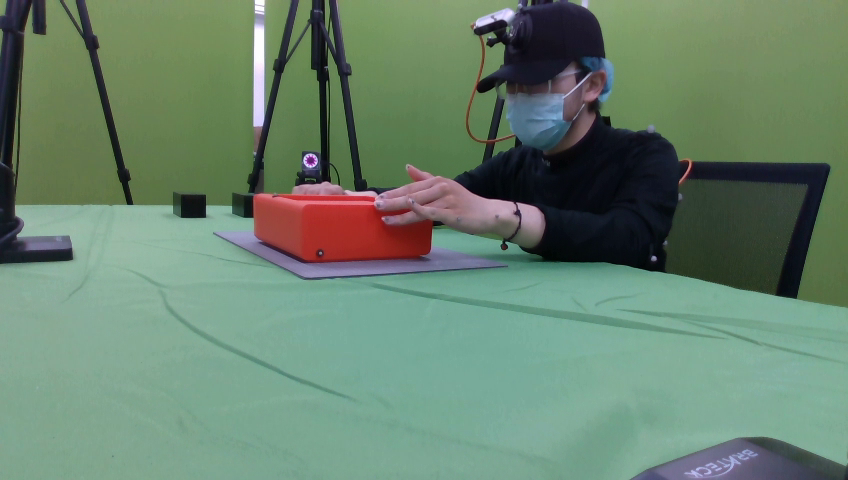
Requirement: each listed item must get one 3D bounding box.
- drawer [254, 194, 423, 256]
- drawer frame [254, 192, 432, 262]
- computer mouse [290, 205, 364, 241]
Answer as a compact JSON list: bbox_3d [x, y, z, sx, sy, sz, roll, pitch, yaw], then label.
[{"bbox_3d":[-0.134,-0.027,0.920,0.195,0.073,0.210,-1,8,-31],"label":"drawer"},{"bbox_3d":[-0.127,-0.027,0.911,0.203,0.082,0.212,-1,9,-32],"label":"drawer frame"},{"bbox_3d":[-0.154,-0.029,0.964,0.117,0.041,0.062,-10,20,-3],"label":"computer mouse"}]
